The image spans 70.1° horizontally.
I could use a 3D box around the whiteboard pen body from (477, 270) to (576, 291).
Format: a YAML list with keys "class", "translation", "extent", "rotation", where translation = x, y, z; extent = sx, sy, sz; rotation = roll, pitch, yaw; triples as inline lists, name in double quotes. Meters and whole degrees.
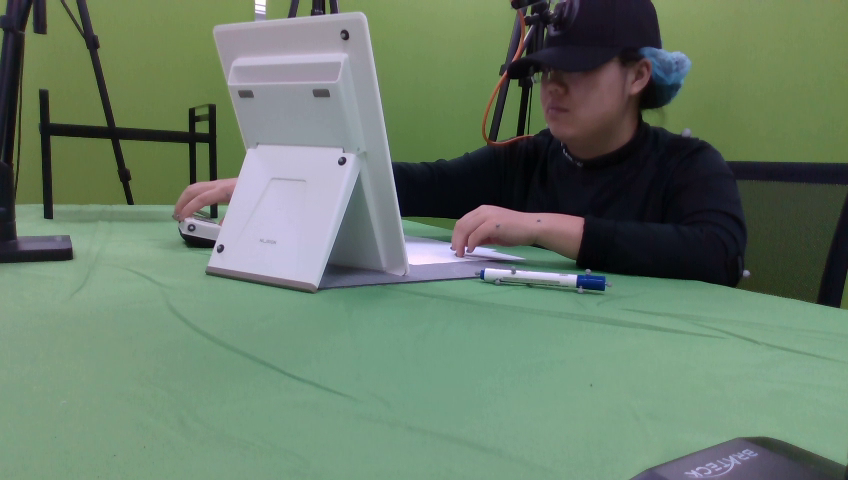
- class: "whiteboard pen body"
  translation: [0.131, 0.048, 0.706]
  extent: [0.140, 0.017, 0.017]
  rotation: [4, 7, 18]

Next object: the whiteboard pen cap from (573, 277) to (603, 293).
- class: "whiteboard pen cap"
  translation: [0.186, 0.051, 0.687]
  extent: [0.033, 0.018, 0.018]
  rotation: [4, 8, 17]

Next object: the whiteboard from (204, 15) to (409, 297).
- class: "whiteboard"
  translation: [-0.166, -0.072, 0.669]
  extent: [0.216, 0.305, 0.144]
  rotation: [8, 30, 30]

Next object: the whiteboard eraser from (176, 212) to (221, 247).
- class: "whiteboard eraser"
  translation: [-0.344, -0.015, 0.923]
  extent: [0.056, 0.042, 0.112]
  rotation: [20, -2, -28]

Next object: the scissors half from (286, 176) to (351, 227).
- class: "scissors half"
  translation: [-0.232, -0.085, 1.318]
  extent: [0.175, 0.013, 0.040]
  rotation: [39, 23, 4]

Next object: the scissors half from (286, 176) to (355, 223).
- class: "scissors half"
  translation: [-0.229, -0.091, 1.337]
  extent: [0.175, 0.013, 0.040]
  rotation: [33, 18, -13]
